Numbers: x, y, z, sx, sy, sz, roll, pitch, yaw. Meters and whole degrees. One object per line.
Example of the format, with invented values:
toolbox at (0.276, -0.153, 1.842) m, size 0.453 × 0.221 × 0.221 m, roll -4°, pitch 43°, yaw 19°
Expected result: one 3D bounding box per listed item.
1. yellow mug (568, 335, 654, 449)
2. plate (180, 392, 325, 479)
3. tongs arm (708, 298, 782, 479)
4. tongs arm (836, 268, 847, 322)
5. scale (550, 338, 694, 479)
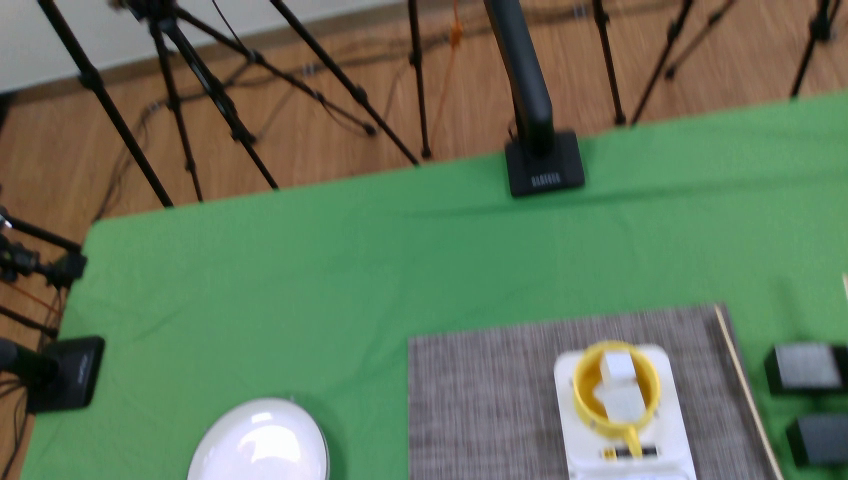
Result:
yellow mug at (0.232, 0.188, 0.740) m, size 0.100 × 0.064 × 0.129 m, roll -16°, pitch 60°, yaw 4°
plate at (-0.233, 0.318, 0.840) m, size 0.207 × 0.039 × 0.206 m, roll -6°, pitch 60°, yaw 10°
tongs arm at (0.416, 0.243, 0.718) m, size 0.028 × 0.028 × 0.383 m, roll -25°, pitch 57°, yaw 25°
tongs arm at (0.479, 0.218, 0.673) m, size 0.050 × 0.027 × 0.382 m, roll -14°, pitch 63°, yaw 34°
scale at (0.246, 0.227, 0.770) m, size 0.148 × 0.032 × 0.199 m, roll -9°, pitch 60°, yaw 10°
